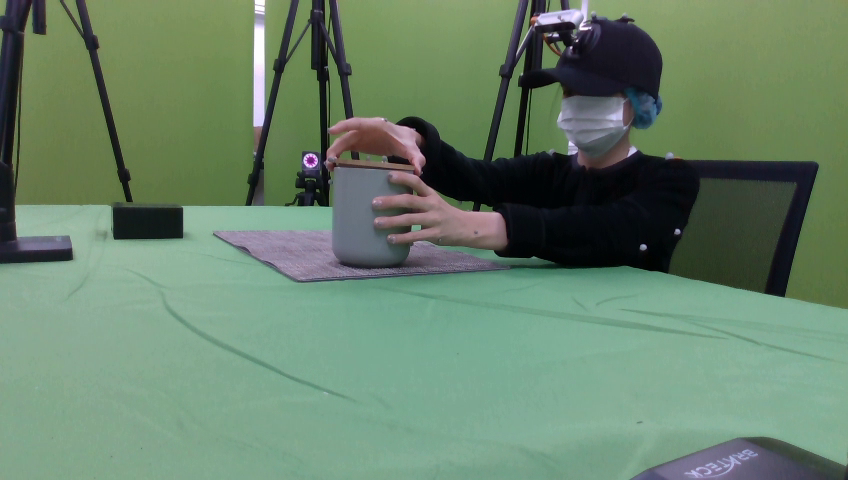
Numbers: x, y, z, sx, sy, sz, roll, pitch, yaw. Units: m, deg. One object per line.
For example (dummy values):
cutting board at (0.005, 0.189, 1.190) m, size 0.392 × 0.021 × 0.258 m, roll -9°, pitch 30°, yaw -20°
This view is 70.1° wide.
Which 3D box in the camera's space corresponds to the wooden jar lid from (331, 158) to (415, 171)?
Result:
wooden jar lid at (-0.066, -0.091, 0.783) m, size 0.108 × 0.020 × 0.108 m, roll 5°, pitch 8°, yaw 0°

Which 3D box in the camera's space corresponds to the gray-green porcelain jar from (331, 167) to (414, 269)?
gray-green porcelain jar at (-0.068, -0.030, 0.791) m, size 0.106 × 0.126 × 0.106 m, roll 3°, pitch 7°, yaw 0°
